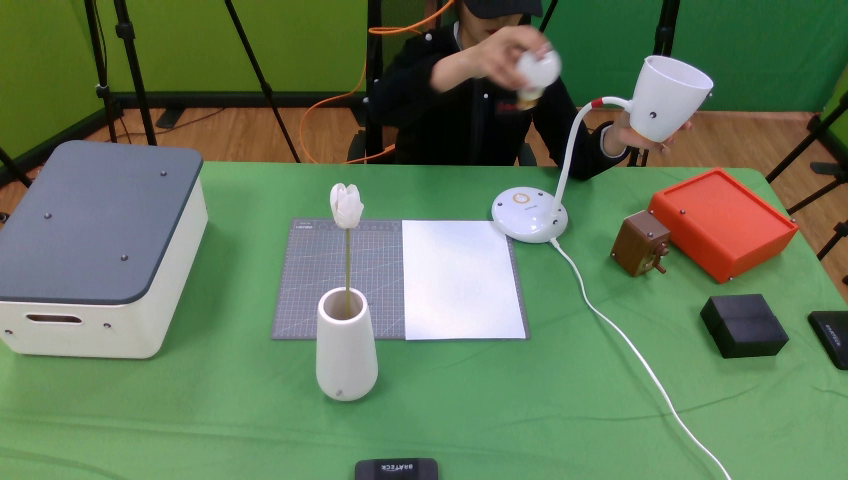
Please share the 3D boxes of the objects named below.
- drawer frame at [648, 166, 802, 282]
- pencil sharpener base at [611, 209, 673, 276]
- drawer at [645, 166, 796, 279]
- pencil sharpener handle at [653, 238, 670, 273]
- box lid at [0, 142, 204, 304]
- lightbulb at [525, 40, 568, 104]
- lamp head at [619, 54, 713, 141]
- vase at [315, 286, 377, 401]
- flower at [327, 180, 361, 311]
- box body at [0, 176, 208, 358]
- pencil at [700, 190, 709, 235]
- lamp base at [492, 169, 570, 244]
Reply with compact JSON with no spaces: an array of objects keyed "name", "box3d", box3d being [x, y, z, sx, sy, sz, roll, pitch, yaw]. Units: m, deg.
[{"name":"drawer frame","box3d":[0.603,-0.040,1.234,0.202,0.083,0.212,-21,51,-23]},{"name":"pencil sharpener base","box3d":[0.416,0.007,1.158,0.061,0.107,0.076,-21,51,-22]},{"name":"drawer","box3d":[0.600,-0.041,1.236,0.195,0.073,0.210,-21,51,-23]},{"name":"pencil sharpener handle","box3d":[0.444,0.030,1.120,0.036,0.068,0.030,-25,52,-18]},{"name":"box lid","box3d":[-0.534,-0.044,0.995,0.263,0.015,0.369,3,45,-3]},{"name":"lightbulb","box3d":[0.177,-0.249,0.911,0.059,0.108,0.059,6,52,-7]},{"name":"lamp head","box3d":[0.380,-0.225,0.977,0.112,0.123,0.111,14,40,-12]},{"name":"vase","box3d":[-0.119,0.159,0.911,0.098,0.201,0.097,2,47,-2]},{"name":"flower","box3d":[-0.110,0.086,0.867,0.044,0.363,0.038,22,33,35]},{"name":"box body","box3d":[-0.546,0.017,1.045,0.254,0.161,0.361,2,46,-2]},{"name":"pencil","box3d":[0.583,-0.058,1.257,0.012,0.012,0.193,16,35,12]},{"name":"lamp base","box3d":[0.234,-0.101,1.199,0.161,0.181,0.178,-24,56,-25]}]
